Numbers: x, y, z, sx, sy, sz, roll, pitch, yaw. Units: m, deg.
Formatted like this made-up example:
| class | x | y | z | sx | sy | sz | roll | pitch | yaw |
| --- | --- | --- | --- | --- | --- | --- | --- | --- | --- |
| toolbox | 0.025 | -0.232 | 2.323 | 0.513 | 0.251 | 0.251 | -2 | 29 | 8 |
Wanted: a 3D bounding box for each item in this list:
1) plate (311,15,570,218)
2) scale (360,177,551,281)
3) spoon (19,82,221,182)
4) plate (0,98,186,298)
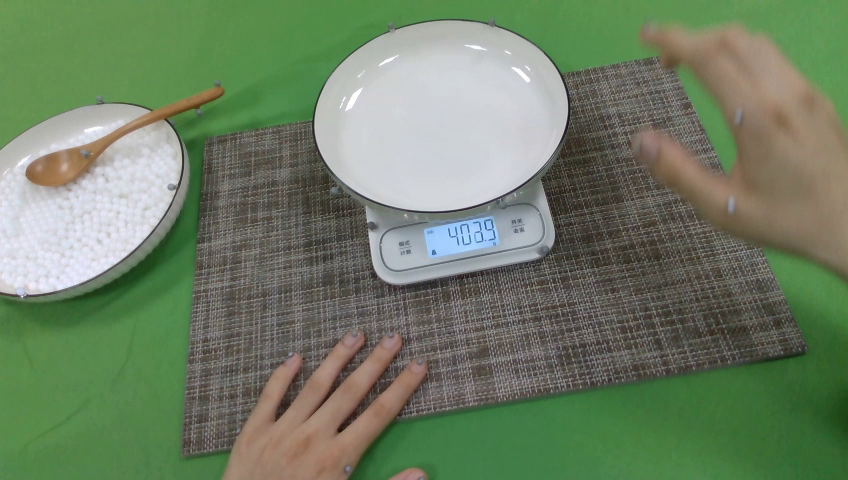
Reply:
| class | x | y | z | sx | sy | sz | roll | pitch | yaw |
| --- | --- | --- | --- | --- | --- | --- | --- | --- | --- |
| plate | 0.013 | -0.102 | 0.500 | 0.207 | 0.039 | 0.206 | -3 | 60 | 5 |
| scale | 0.016 | -0.067 | 0.518 | 0.149 | 0.032 | 0.199 | -11 | 60 | 1 |
| spoon | -0.277 | -0.102 | 0.557 | 0.194 | 0.022 | 0.041 | -27 | 60 | 0 |
| plate | -0.312 | -0.038 | 0.543 | 0.209 | 0.038 | 0.207 | -3 | 60 | 5 |
